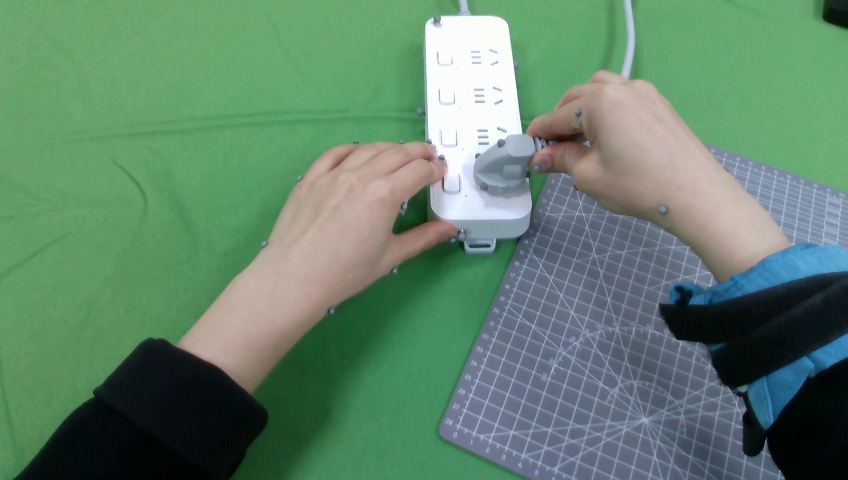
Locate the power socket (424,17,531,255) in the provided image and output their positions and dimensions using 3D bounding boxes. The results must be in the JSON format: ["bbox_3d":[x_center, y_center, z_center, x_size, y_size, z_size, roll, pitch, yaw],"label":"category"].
[{"bbox_3d":[0.036,-0.093,0.466,0.072,0.033,0.224,1,58,-2],"label":"power socket"}]

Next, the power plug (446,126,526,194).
[{"bbox_3d":[0.035,-0.059,0.419,0.072,0.035,0.052,18,63,37],"label":"power plug"}]
